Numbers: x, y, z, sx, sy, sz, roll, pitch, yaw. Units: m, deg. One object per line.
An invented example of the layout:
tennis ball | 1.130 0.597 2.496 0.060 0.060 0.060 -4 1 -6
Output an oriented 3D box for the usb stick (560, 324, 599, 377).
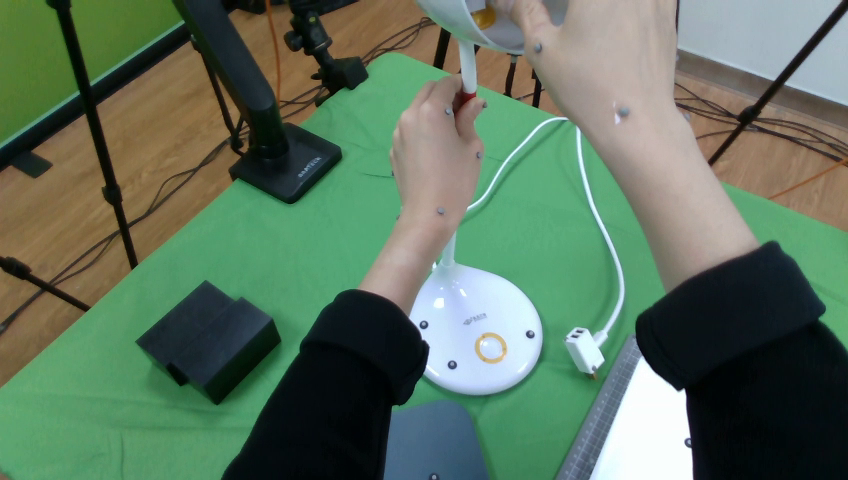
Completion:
usb stick | 0.177 0.125 0.677 0.027 0.059 0.021 -36 18 -28

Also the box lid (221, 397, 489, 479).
box lid | -0.041 0.333 0.545 0.264 0.015 0.367 -12 55 -8

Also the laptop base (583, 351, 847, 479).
laptop base | 0.335 0.276 0.580 0.352 0.023 0.234 24 61 17

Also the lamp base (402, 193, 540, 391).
lamp base | 0.046 0.047 0.653 0.161 0.182 0.177 -30 55 -20

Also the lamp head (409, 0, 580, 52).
lamp head | 0.034 -0.187 0.412 0.112 0.113 0.122 -31 29 -21

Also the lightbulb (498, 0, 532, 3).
lightbulb | 0.045 -0.180 0.382 0.059 0.060 0.106 -28 28 -19

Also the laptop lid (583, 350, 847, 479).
laptop lid | 0.333 0.271 0.570 0.354 0.013 0.241 26 60 18
